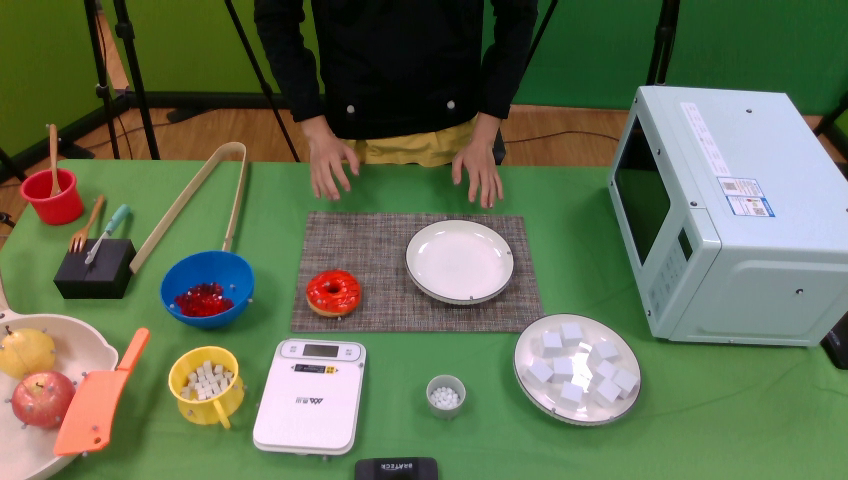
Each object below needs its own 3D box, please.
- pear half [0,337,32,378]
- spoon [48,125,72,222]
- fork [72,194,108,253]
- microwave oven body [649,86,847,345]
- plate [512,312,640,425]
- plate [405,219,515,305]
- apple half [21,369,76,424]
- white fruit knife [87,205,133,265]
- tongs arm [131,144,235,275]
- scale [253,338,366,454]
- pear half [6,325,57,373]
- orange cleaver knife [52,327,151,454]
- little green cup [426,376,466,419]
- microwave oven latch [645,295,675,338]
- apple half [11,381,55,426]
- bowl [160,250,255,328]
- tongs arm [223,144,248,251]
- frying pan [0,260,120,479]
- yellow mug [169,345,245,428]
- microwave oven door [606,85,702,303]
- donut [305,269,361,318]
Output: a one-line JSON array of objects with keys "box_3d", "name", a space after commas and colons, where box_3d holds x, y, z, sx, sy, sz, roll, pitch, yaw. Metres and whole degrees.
[{"box_3d": [-0.631, 0.183, 0.923, 0.070, 0.088, 0.031, 28, 50, 15], "name": "pear half"}, {"box_3d": [-0.718, -0.131, 1.189, 0.041, 0.021, 0.193, -4, 90, -7], "name": "spoon"}, {"box_3d": [-0.634, -0.036, 1.158, 0.028, 0.019, 0.206, -8, 32, -8], "name": "fork"}, {"box_3d": [0.567, -0.053, 1.118, 0.326, 0.261, 0.439, 2, 45, -1], "name": "microwave oven body"}, {"box_3d": [0.246, 0.213, 0.999, 0.208, 0.039, 0.206, 2, 46, -2], "name": "plate"}, {"box_3d": [0.067, 0.044, 1.144, 0.209, 0.038, 0.208, 2, 46, -2], "name": "plate"}, {"box_3d": [-0.546, 0.226, 0.898, 0.080, 0.075, 0.053, 30, 48, 27], "name": "apple half"}, {"box_3d": [-0.584, -0.013, 1.129, 0.016, 0.027, 0.206, -1, 32, -5], "name": "white fruit knife"}, {"box_3d": [-0.484, -0.075, 1.237, 0.028, 0.028, 0.385, 5, 45, 14], "name": "tongs arm"}, {"box_3d": [-0.175, 0.236, 0.951, 0.149, 0.032, 0.199, 4, 45, 0], "name": "scale"}, {"box_3d": [-0.607, 0.158, 0.935, 0.076, 0.110, 0.056, 31, 51, 19], "name": "pear half"}, {"box_3d": [-0.462, 0.212, 0.879, 0.077, 0.012, 0.210, 6, 45, -1], "name": "orange cleaver knife"}, {"box_3d": [0.033, 0.248, 0.950, 0.061, 0.039, 0.061, 2, 46, -2], "name": "little green cup"}, {"box_3d": [0.411, 0.134, 1.061, 0.030, 0.029, 0.078, 3, 45, 0], "name": "microwave oven latch"}, {"box_3d": [-0.570, 0.246, 0.875, 0.081, 0.081, 0.033, 32, 49, 24], "name": "apple half"}, {"box_3d": [-0.362, 0.098, 1.040, 0.151, 0.077, 0.150, 2, 45, -2], "name": "bowl"}, {"box_3d": [-0.397, -0.073, 1.232, 0.051, 0.027, 0.382, -3, 45, 1], "name": "tongs arm"}, {"box_3d": [-0.647, 0.164, 0.936, 0.307, 0.103, 0.485, -19, 58, -22], "name": "frying pan"}, {"box_3d": [-0.322, 0.230, 0.922, 0.100, 0.064, 0.130, -24, 53, -25], "name": "yellow mug"}, {"box_3d": [0.422, -0.094, 1.140, 0.039, 0.245, 0.353, 2, 46, -1], "name": "microwave oven door"}, {"box_3d": [-0.160, 0.094, 1.075, 0.099, 0.048, 0.098, 3, 45, -3], "name": "donut"}]
